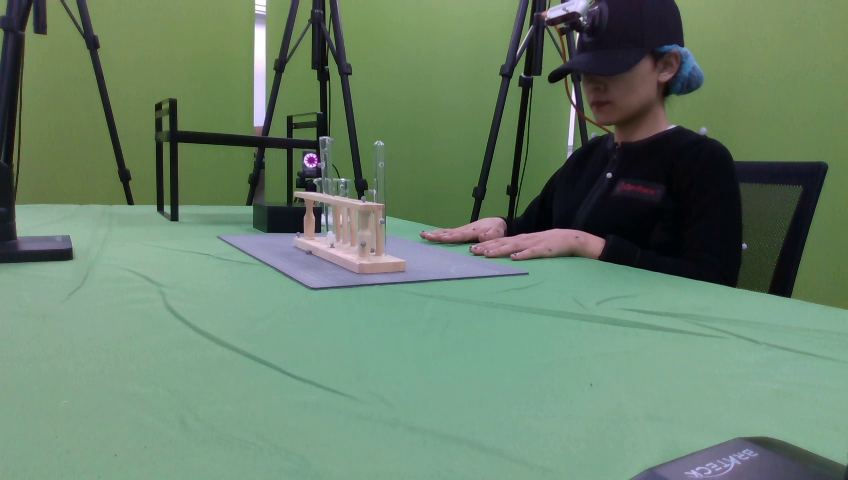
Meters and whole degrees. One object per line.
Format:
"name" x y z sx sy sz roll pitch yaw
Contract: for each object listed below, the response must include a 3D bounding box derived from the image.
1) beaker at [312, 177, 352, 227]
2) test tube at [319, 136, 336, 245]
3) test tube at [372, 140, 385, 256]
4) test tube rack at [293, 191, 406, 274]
"beaker" -0.194 -0.081 1.266 0.084 0.100 0.073 -3 9 -29
"test tube" -0.134 -0.068 0.837 0.017 0.150 0.017 -3 4 1
"test tube" -0.058 -0.053 0.781 0.017 0.150 0.017 0 5 0
"test tube rack" -0.110 -0.017 0.836 0.067 0.085 0.241 -2 9 -30
